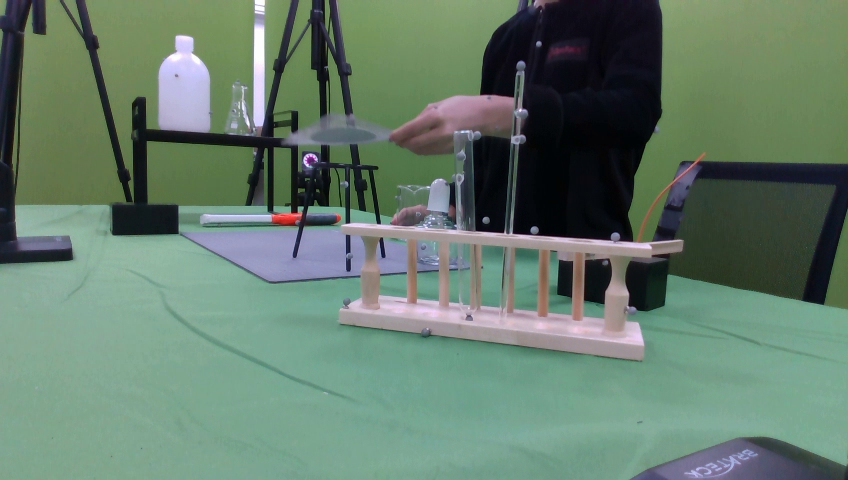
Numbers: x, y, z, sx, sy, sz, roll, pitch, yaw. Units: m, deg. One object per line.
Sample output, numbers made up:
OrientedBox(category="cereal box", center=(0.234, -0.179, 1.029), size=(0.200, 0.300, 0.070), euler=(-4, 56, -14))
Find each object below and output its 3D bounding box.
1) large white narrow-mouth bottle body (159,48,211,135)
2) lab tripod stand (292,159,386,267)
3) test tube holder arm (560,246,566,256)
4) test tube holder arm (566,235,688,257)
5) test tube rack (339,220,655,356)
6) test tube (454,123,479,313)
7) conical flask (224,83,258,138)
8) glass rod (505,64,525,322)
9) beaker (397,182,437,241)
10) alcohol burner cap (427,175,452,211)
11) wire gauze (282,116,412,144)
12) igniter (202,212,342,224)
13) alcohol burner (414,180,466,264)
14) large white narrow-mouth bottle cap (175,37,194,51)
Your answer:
OrientedBox(category="large white narrow-mouth bottle body", center=(-0.503, -0.322, 1.275), size=(0.102, 0.194, 0.102), euler=(2, 7, 0))
OrientedBox(category="lab tripod stand", center=(-0.105, -0.039, 0.798), size=(0.148, 0.131, 0.148), euler=(2, 5, 0))
OrientedBox(category="test tube holder arm", center=(0.173, 0.007, 0.611), size=(0.088, 0.015, 0.010), euler=(-3, 10, -29))
OrientedBox(category="test tube holder arm", center=(0.215, 0.006, 0.629), size=(0.179, 0.015, 0.013), euler=(-3, 10, -30))
OrientedBox(category="test tube rack", center=(0.056, 0.032, 0.495), size=(0.242, 0.085, 0.067), euler=(4, 7, 15))
OrientedBox(category="test tube", center=(0.034, -0.016, 0.477), size=(0.017, 0.150, 0.017), euler=(-2, 9, 1))
OrientedBox(category="conical flask", center=(-0.422, -0.299, 1.395), size=(0.075, 0.122, 0.075), euler=(2, 7, 0))
OrientedBox(category="glass rod", center=(0.069, -0.029, 0.458), size=(0.008, 0.199, 0.008), euler=(1, 15, 0))
OrientedBox(category="beaker", center=(-0.013, -0.050, 1.070), size=(0.074, 0.100, 0.084), euler=(3, 8, 5))
OrientedBox(category="alcohol burner cap", center=(0.023, -0.064, 0.822), size=(0.034, 0.048, 0.034), euler=(8, 4, 0))
OrientedBox(category="wire gauze", center=(-0.101, -0.138, 0.786), size=(0.126, 0.011, 0.121), euler=(-3, -3, -41))
OrientedBox(category="igniter", center=(-0.298, -0.044, 1.216), size=(0.278, 0.025, 0.057), euler=(-2, -2, -33))
OrientedBox(category="alcohol burner", center=(0.021, -0.028, 0.826), size=(0.078, 0.119, 0.078), euler=(0, 6, 0))
OrientedBox(category="large white narrow-mouth bottle cap", center=(-0.501, -0.409, 1.264), size=(0.038, 0.024, 0.037), euler=(2, 7, 0))
